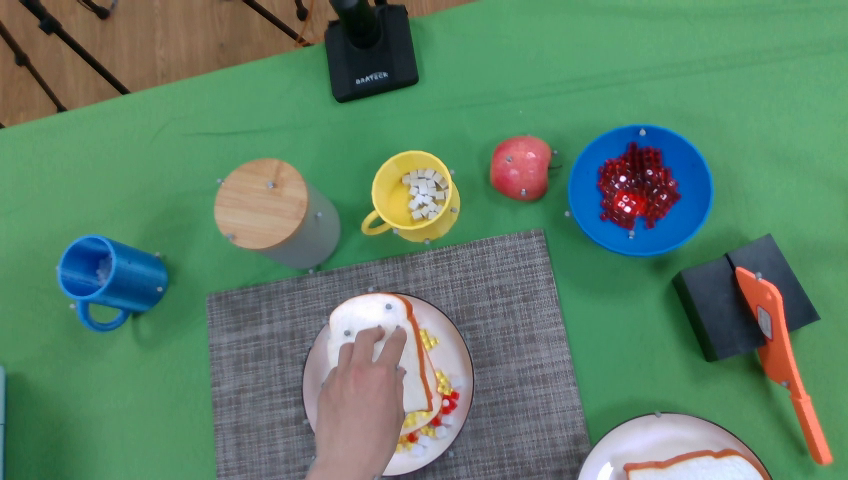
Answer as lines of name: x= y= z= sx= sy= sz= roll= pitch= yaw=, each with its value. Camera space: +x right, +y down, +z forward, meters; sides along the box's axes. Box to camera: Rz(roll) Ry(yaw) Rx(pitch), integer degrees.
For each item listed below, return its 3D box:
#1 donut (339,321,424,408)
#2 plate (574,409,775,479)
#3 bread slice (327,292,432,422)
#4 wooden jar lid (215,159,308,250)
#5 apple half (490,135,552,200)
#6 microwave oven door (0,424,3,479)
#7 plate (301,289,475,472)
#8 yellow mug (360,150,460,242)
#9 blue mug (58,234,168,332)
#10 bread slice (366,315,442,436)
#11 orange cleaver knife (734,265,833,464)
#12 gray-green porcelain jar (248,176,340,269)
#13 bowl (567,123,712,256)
donut: x=-0.048 y=0.142 z=0.693 sx=0.099 sy=0.048 sz=0.098 roll=-3 pitch=77 yaw=12
plate: x=0.259 y=0.282 z=0.630 sx=0.209 sy=0.038 sz=0.208 roll=-3 pitch=76 yaw=12
bread slice: x=-0.054 y=0.121 z=0.637 sx=0.105 sy=0.019 sz=0.131 roll=-11 pitch=80 yaw=9
wooden jar lid: x=-0.181 y=-0.039 z=0.682 sx=0.108 sy=0.021 sz=0.108 roll=-3 pitch=74 yaw=9
apple half: x=0.117 y=-0.094 z=0.741 sx=0.074 sy=0.054 sz=0.080 roll=11 pitch=79 yaw=16
microwave oven door: x=-0.569 y=0.385 z=0.645 sx=0.039 sy=0.245 sz=0.353 roll=-12 pitch=74 yaw=9
plate: x=-0.041 y=0.163 z=0.715 sx=0.207 sy=0.039 sz=0.206 roll=-3 pitch=77 yaw=11
yellow mug: x=-0.023 y=-0.044 z=0.750 sx=0.131 sy=0.064 sz=0.099 roll=-33 pitch=72 yaw=3
blue mug: x=-0.401 y=0.061 z=0.780 sx=0.082 sy=0.106 sz=0.116 roll=9 pitch=78 yaw=13
bread slice: x=-0.037 y=0.160 z=0.715 sx=0.107 sy=0.018 sz=0.133 roll=-29 pitch=75 yaw=5
orange cleaver knife: x=0.366 y=0.126 z=0.623 sx=0.012 sy=0.077 sz=0.211 roll=-22 pitch=95 yaw=-1
gray-green porcelain jar: x=-0.167 y=-0.023 z=0.743 sx=0.105 sy=0.127 sz=0.105 roll=-3 pitch=76 yaw=11
bowl: x=0.239 y=-0.048 z=0.691 sx=0.151 sy=0.077 sz=0.150 roll=-3 pitch=76 yaw=11
